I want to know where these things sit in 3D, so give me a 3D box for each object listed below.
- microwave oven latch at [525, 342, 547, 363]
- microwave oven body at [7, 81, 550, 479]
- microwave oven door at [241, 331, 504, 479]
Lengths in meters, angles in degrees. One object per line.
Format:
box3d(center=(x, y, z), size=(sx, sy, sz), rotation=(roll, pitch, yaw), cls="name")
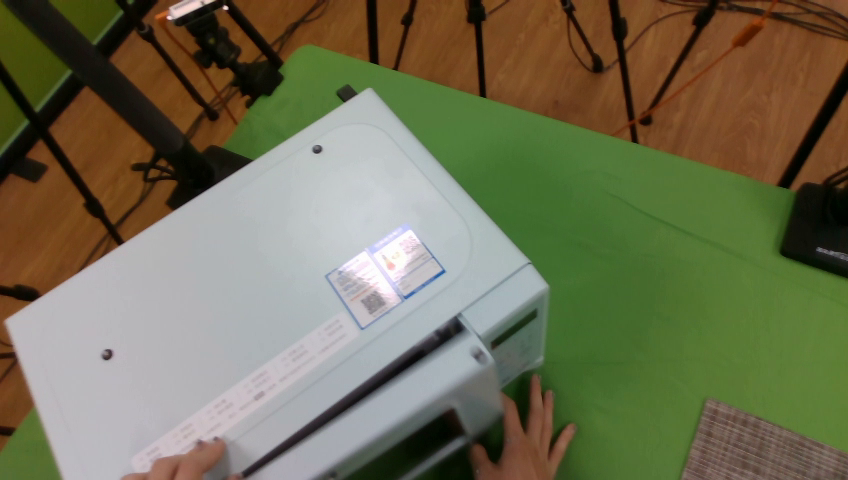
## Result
box3d(center=(0.107, 0.136, 0.722), size=(0.079, 0.030, 0.030), rotation=(-20, 63, 0), cls="microwave oven latch")
box3d(center=(-0.135, 0.098, 0.671), size=(0.441, 0.262, 0.323), rotation=(-35, 64, -8), cls="microwave oven body")
box3d(center=(-0.083, 0.227, 0.592), size=(0.356, 0.246, 0.039), rotation=(-32, 62, -7), cls="microwave oven door")
